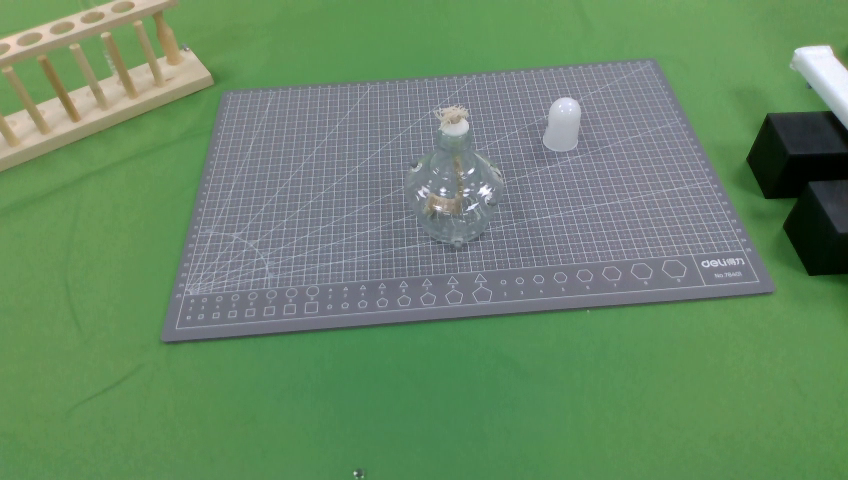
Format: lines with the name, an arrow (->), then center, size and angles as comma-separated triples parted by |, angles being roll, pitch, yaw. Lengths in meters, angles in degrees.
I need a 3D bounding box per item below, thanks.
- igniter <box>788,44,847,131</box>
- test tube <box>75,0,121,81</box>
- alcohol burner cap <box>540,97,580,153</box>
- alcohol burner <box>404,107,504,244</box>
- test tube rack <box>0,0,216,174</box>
igniter -> 0.345, -0.064, 0.446 | 0.057, 0.025, 0.273 | -5, 48, 2
test tube -> -0.318, -0.221, 0.572 | 0.017, 0.152, 0.017 | -5, 42, 5
alcohol burner cap -> 0.124, -0.106, 0.543 | 0.034, 0.048, 0.033 | -1, 49, 1
alcohol burner -> 0.023, -0.053, 0.458 | 0.078, 0.120, 0.077 | 0, 51, 1
test tube rack -> -0.340, -0.153, 0.586 | 0.242, 0.086, 0.066 | -30, 54, -20
